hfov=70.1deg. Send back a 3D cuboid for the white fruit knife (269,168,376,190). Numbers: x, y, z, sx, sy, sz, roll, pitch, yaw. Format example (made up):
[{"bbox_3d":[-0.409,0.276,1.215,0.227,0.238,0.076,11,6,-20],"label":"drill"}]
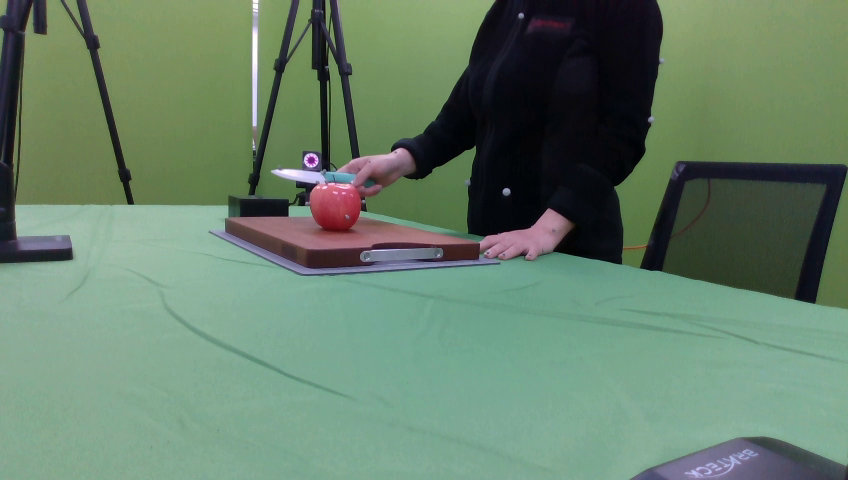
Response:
[{"bbox_3d":[-0.177,-0.112,1.080,0.208,0.027,0.016,3,-24,-38],"label":"white fruit knife"}]

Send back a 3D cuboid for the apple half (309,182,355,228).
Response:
[{"bbox_3d":[-0.153,-0.058,0.978,0.082,0.081,0.032,-2,11,-27],"label":"apple half"}]

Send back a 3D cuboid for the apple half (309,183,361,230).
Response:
[{"bbox_3d":[-0.135,-0.052,0.945,0.081,0.074,0.053,2,11,-29],"label":"apple half"}]
